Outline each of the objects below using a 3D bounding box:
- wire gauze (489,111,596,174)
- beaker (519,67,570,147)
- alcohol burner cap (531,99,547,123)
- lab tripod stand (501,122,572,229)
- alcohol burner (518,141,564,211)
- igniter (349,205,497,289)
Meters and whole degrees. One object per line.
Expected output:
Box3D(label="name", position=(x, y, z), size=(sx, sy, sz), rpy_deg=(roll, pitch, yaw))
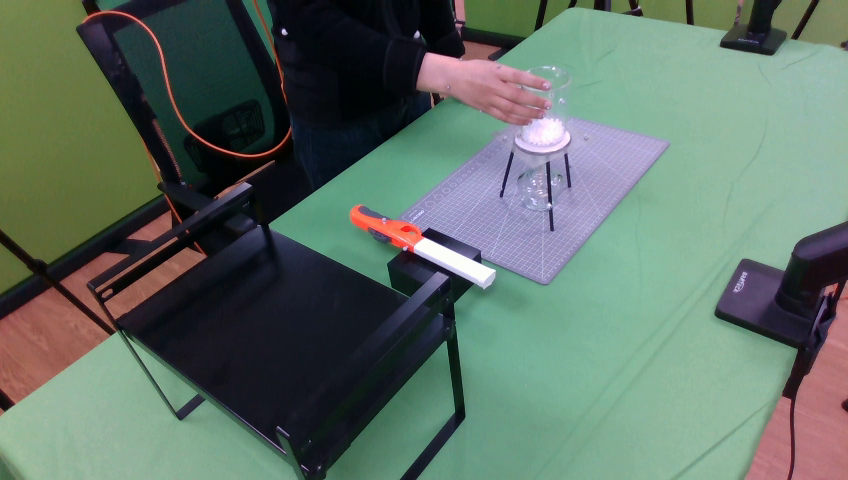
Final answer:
Box3D(label="wire gauze", position=(0.183, -0.159, 0.944), size=(0.122, 0.011, 0.124), rpy_deg=(-25, 47, -17))
Box3D(label="beaker", position=(0.184, -0.201, 0.917), size=(0.073, 0.101, 0.084), rpy_deg=(25, 51, 31))
Box3D(label="alcohol burner cap", position=(0.234, -0.264, 1.231), size=(0.034, 0.048, 0.033), rpy_deg=(-5, 41, 5))
Box3D(label="lab tripod stand", position=(0.194, -0.110, 0.985), size=(0.148, 0.132, 0.147), rpy_deg=(-3, 41, 3))
Box3D(label="alcohol burner", position=(0.193, -0.109, 0.999), size=(0.078, 0.119, 0.077), rpy_deg=(-6, 38, 5))
Box3D(label="igniter", position=(-0.013, 0.004, 0.897), size=(0.274, 0.025, 0.057), rpy_deg=(25, 44, 32))
